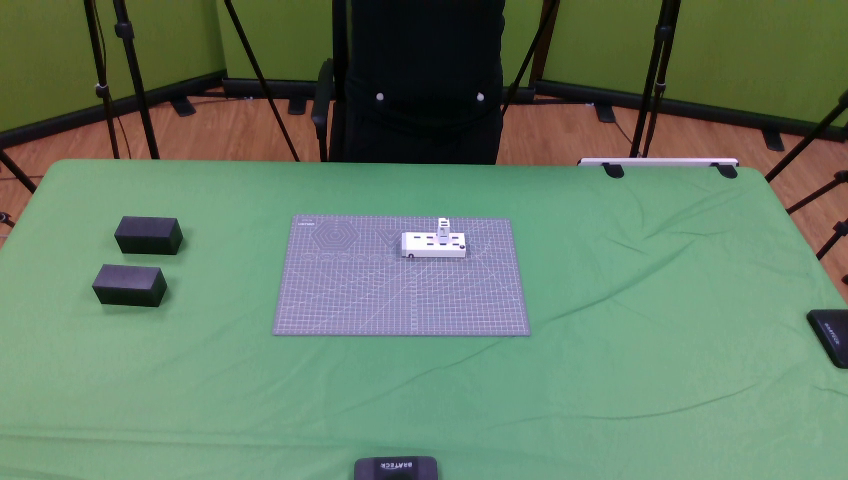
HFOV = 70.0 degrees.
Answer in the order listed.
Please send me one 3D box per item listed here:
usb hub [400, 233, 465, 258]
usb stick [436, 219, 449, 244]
[{"bbox_3d":[0.017,0.011,1.182,0.125,0.025,0.049,1,46,-3],"label":"usb hub"},{"bbox_3d":[0.035,-0.012,1.166,0.021,0.059,0.027,-2,48,-6],"label":"usb stick"}]
